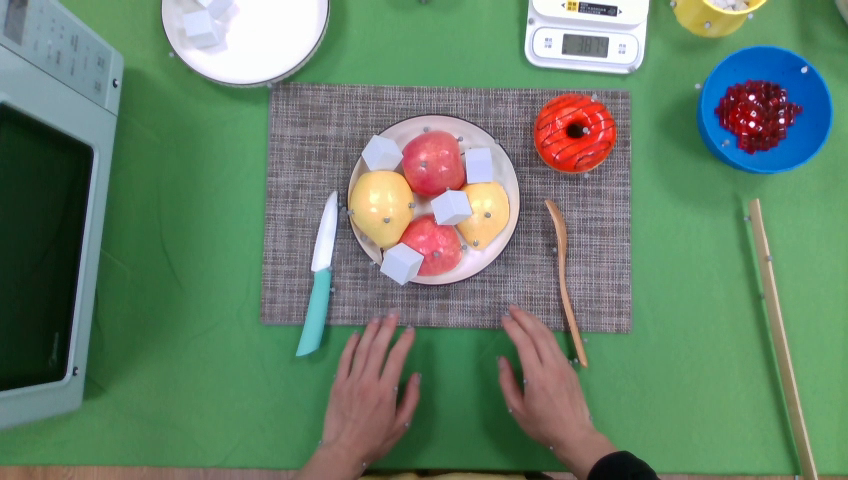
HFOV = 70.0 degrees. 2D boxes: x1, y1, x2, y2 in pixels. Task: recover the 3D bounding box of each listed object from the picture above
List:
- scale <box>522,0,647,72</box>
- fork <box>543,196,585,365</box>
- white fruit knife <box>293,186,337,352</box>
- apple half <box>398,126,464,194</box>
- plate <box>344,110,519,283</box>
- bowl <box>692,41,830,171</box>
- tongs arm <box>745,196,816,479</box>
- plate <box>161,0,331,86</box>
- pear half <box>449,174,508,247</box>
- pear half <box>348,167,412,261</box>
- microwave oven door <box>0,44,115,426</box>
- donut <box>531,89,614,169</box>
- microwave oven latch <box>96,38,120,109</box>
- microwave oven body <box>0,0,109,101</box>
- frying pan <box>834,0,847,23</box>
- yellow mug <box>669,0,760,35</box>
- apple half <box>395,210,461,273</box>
[{"bbox_3d":[0.205,-0.317,0.761,0.148,0.031,0.200,6,85,1],"label":"scale"},{"bbox_3d":[0.169,0.047,0.728,0.018,0.028,0.207,-9,87,27],"label":"fork"},{"bbox_3d":[-0.127,0.034,0.733,0.027,0.016,0.207,10,83,-10],"label":"white fruit knife"},{"bbox_3d":[0.007,-0.096,0.716,0.074,0.053,0.080,-11,88,2],"label":"apple half"},{"bbox_3d":[0.010,-0.051,0.729,0.209,0.038,0.208,0,85,0],"label":"plate"},{"bbox_3d":[0.384,-0.148,0.721,0.151,0.077,0.151,0,85,1],"label":"bowl"},{"bbox_3d":[0.438,0.134,0.714,0.051,0.026,0.384,-7,86,-3],"label":"tongs arm"},{"bbox_3d":[-0.218,-0.290,0.758,0.208,0.039,0.207,0,84,0],"label":"plate"},{"bbox_3d":[0.063,-0.037,0.721,0.070,0.031,0.087,3,82,14],"label":"pear half"},{"bbox_3d":[-0.049,-0.031,0.706,0.076,0.056,0.109,-5,89,-8],"label":"pear half"},{"bbox_3d":[-0.408,0.005,0.610,0.039,0.244,0.355,4,84,1],"label":"microwave oven door"},{"bbox_3d":[0.178,-0.134,0.733,0.099,0.048,0.099,0,85,3],"label":"donut"},{"bbox_3d":[-0.388,-0.201,0.731,0.030,0.029,0.079,5,85,1],"label":"microwave oven latch"},{"bbox_3d":[-0.551,-0.047,0.621,0.326,0.260,0.440,4,85,0],"label":"microwave oven body"},{"bbox_3d":[0.675,-0.254,0.716,0.307,0.103,0.485,-25,77,-1],"label":"frying pan"},{"bbox_3d":[0.353,-0.327,0.743,0.100,0.064,0.130,-31,84,-2],"label":"yellow mug"},{"bbox_3d":[0.004,0.001,0.716,0.081,0.033,0.081,0,79,-1],"label":"apple half"}]
